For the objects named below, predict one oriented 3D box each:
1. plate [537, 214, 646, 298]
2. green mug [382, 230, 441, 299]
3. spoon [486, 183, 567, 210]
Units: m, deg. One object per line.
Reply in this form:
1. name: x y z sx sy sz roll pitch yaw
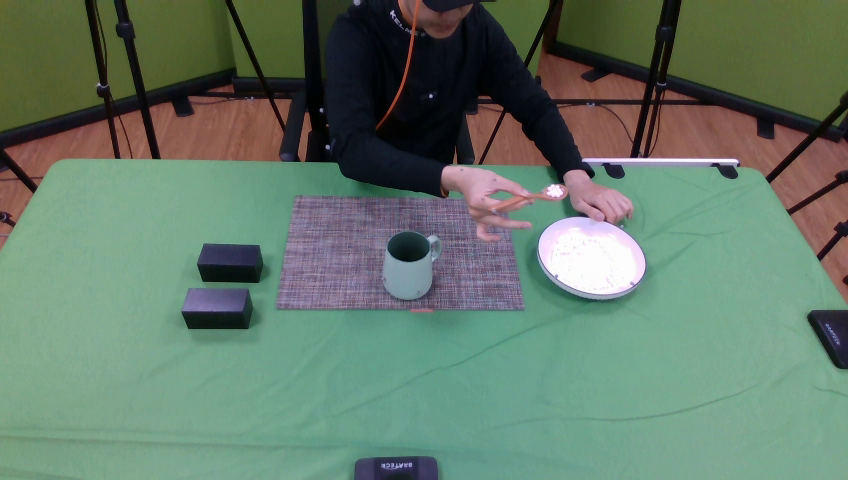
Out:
1. plate: 0.321 0.035 1.176 0.209 0.038 0.208 2 47 -2
2. green mug: -0.017 0.037 1.097 0.125 0.105 0.092 -34 57 -31
3. spoon: 0.175 -0.074 1.029 0.194 0.022 0.041 -12 41 -38
